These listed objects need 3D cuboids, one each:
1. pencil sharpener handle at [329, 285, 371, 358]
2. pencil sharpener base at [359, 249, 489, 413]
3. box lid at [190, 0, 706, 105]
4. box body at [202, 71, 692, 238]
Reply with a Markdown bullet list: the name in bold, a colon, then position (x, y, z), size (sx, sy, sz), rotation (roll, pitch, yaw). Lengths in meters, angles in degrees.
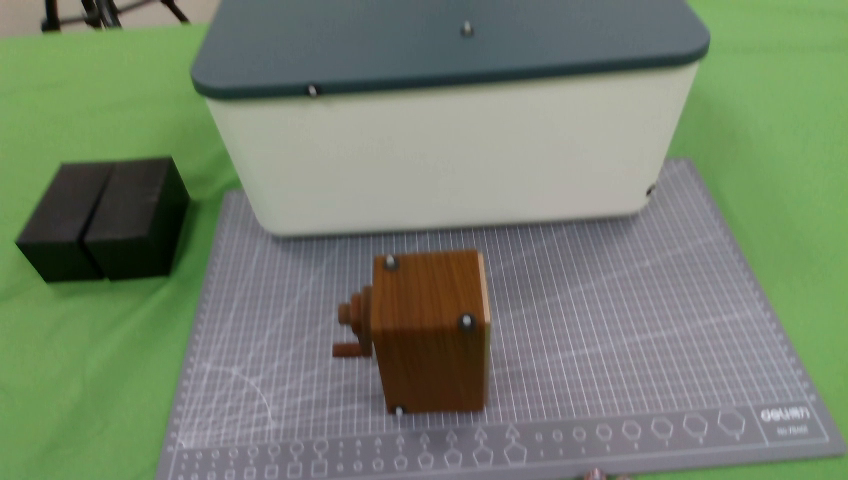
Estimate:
- **pencil sharpener handle**: position (-0.051, 0.057, 0.390), size (0.030, 0.068, 0.035), rotation (-3, 49, 1)
- **pencil sharpener base**: position (0.001, 0.063, 0.398), size (0.077, 0.108, 0.061), rotation (-3, 47, 1)
- **box lid**: position (0.011, -0.196, 0.503), size (0.372, 0.015, 0.260), rotation (-4, 45, 0)
- **box body**: position (0.017, -0.144, 0.557), size (0.364, 0.162, 0.251), rotation (-4, 46, 0)
